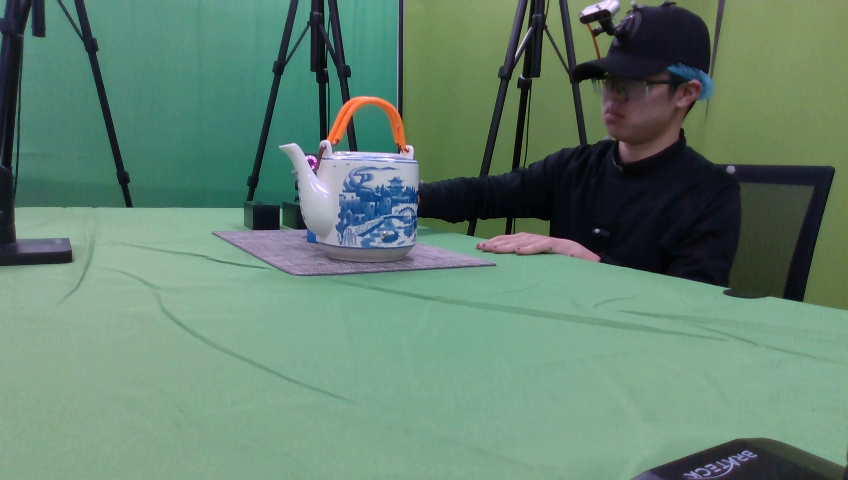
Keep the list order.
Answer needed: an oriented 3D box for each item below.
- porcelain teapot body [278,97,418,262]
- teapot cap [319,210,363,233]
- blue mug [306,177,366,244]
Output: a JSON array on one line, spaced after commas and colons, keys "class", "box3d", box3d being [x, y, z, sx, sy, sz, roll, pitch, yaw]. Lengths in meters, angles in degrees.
[{"class": "porcelain teapot body", "box3d": [-0.104, -0.086, 0.842, 0.206, 0.225, 0.144, -4, 10, -38]}, {"class": "teapot cap", "box3d": [-0.157, -0.035, 1.143, 0.085, 0.044, 0.085, -1, 2, 0]}, {"class": "blue mug", "box3d": [-0.144, -0.052, 1.027, 0.082, 0.106, 0.117, 9, 10, 41]}]
